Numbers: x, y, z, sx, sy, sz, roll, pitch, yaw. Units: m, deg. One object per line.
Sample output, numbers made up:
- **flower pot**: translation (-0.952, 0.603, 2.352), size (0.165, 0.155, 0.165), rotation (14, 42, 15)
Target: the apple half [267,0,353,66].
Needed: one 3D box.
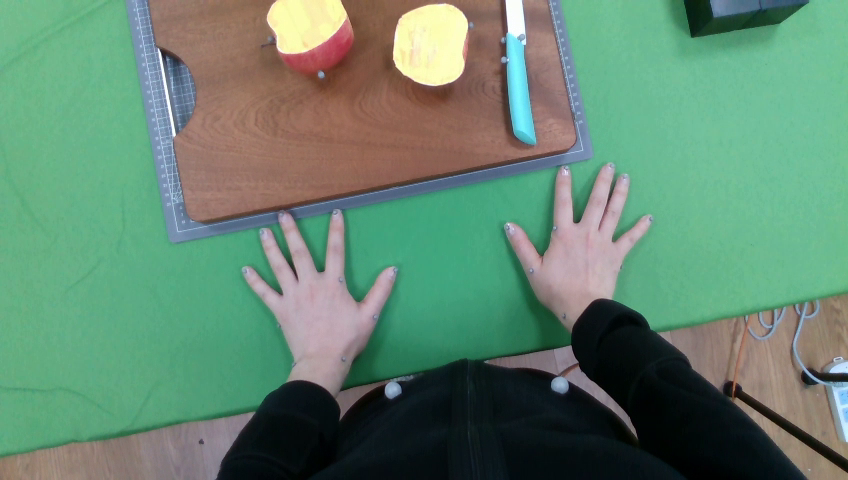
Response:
- **apple half**: translation (-0.106, -0.203, 0.586), size (0.074, 0.054, 0.080), rotation (-29, 64, -1)

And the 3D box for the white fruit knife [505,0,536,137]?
- **white fruit knife**: translation (0.092, -0.207, 0.613), size (0.027, 0.016, 0.207), rotation (-3, 85, -30)

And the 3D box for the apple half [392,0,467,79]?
- **apple half**: translation (0.007, -0.198, 0.601), size (0.081, 0.033, 0.081), rotation (1, 97, 11)
